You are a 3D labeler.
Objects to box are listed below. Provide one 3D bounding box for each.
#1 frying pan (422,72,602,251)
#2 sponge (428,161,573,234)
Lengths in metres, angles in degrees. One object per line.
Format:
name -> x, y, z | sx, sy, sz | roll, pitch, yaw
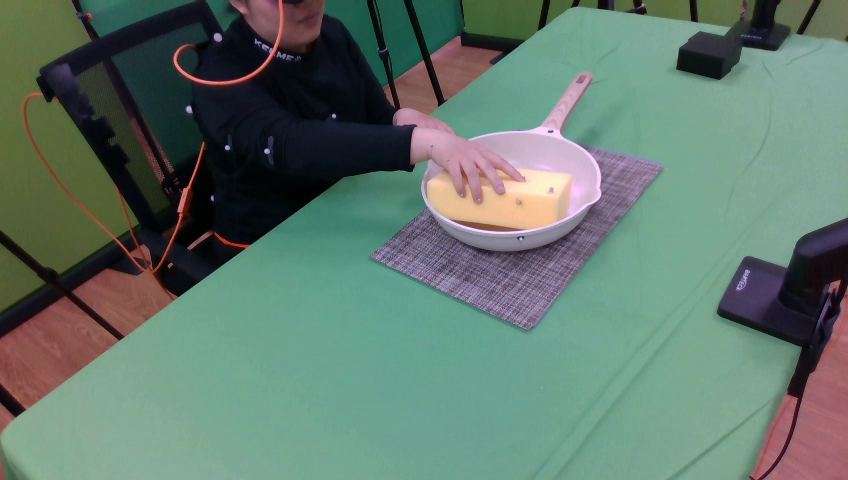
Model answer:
frying pan -> 0.199, -0.155, 1.062 | 0.304, 0.103, 0.488 | 19, 56, 28
sponge -> 0.123, -0.072, 0.966 | 0.206, 0.061, 0.118 | 9, 26, 18
